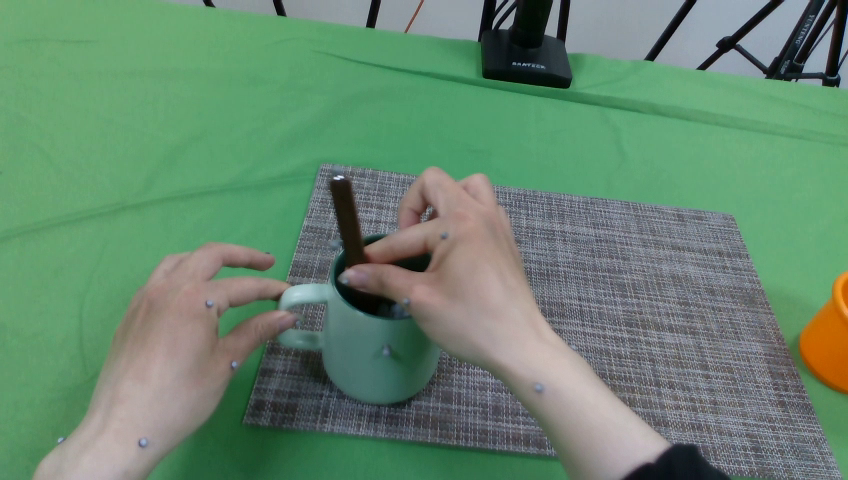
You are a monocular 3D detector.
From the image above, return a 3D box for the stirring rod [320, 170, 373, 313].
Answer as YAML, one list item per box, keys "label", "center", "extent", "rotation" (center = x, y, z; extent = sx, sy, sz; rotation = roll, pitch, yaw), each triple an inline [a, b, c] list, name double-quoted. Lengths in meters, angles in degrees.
- label: "stirring rod"
  center: [-0.046, 0.028, 0.401]
  extent: [0.014, 0.178, 0.005]
  rotation: [-6, 42, 1]

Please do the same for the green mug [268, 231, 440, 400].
- label: "green mug"
  center: [-0.050, 0.057, 0.443]
  extent: [0.125, 0.106, 0.091]
  rotation: [-1, 47, -10]
